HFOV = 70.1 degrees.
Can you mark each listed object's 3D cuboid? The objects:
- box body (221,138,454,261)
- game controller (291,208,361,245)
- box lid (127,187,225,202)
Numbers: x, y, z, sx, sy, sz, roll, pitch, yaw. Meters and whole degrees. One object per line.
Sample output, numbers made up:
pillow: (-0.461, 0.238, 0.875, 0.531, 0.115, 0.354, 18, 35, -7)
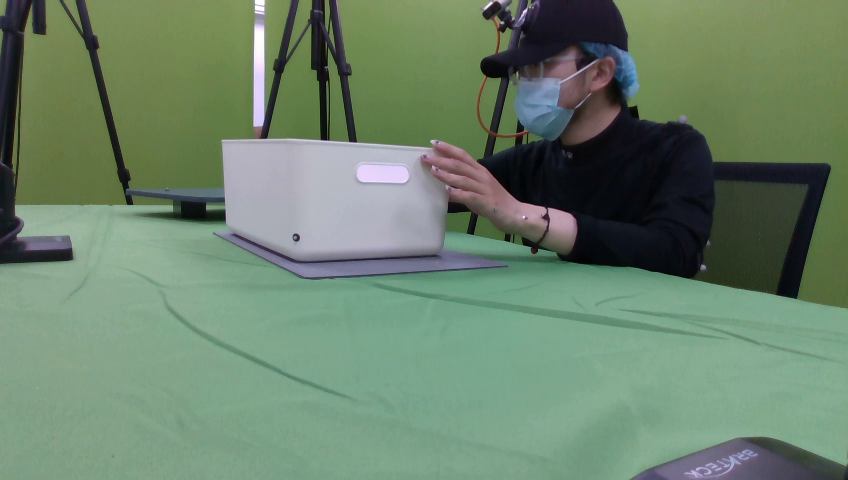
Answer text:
box body: (-0.152, -0.074, 0.963, 0.255, 0.160, 0.362, -2, 9, -33)
game controller: (-0.161, -0.023, 0.967, 0.097, 0.051, 0.154, -5, 9, -15)
box lid: (-0.449, -0.106, 1.393, 0.262, 0.015, 0.373, 6, 8, 28)
